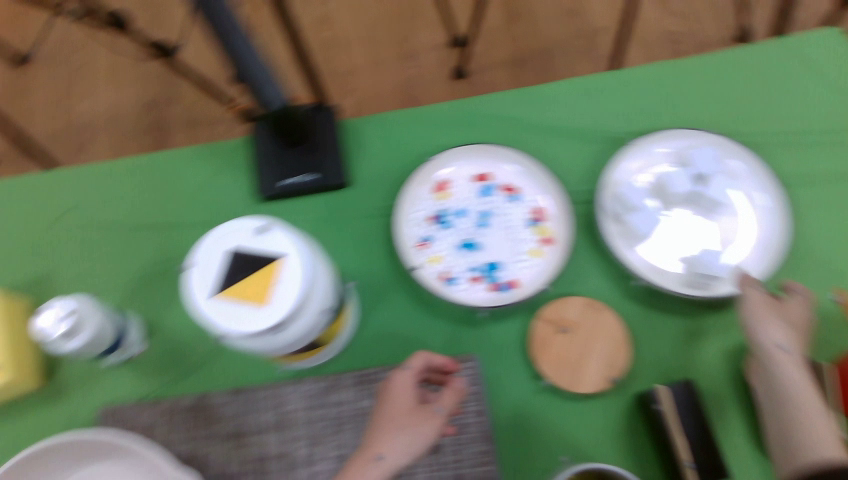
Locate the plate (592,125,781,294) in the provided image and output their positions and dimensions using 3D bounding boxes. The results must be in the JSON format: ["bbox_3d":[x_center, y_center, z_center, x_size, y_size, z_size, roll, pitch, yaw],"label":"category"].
[{"bbox_3d":[0.300,-0.035,0.708,0.207,0.039,0.206,-1,72,5],"label":"plate"}]

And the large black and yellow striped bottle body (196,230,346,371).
[{"bbox_3d":[-0.164,0.063,0.639,0.131,0.185,0.130,-1,71,5],"label":"large black and yellow striped bottle body"}]

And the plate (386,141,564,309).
[{"bbox_3d":[0.060,-0.018,0.723,0.209,0.038,0.208,-1,72,5],"label":"plate"}]

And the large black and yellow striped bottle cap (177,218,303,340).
[{"bbox_3d":[-0.170,0.035,0.559,0.115,0.019,0.114,-1,73,4],"label":"large black and yellow striped bottle cap"}]

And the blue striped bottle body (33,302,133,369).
[{"bbox_3d":[-0.386,0.107,0.676,0.063,0.121,0.062,-1,72,4],"label":"blue striped bottle body"}]

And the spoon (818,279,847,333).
[{"bbox_3d":[0.427,0.103,0.598,0.041,0.021,0.195,-45,118,-10],"label":"spoon"}]

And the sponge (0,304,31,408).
[{"bbox_3d":[-0.585,0.165,0.705,0.207,0.061,0.117,-23,72,-4],"label":"sponge"}]

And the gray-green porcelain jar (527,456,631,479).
[{"bbox_3d":[0.147,0.262,0.579,0.106,0.127,0.105,-1,71,4],"label":"gray-green porcelain jar"}]

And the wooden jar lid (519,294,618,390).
[{"bbox_3d":[0.161,0.114,0.682,0.108,0.021,0.108,-1,74,5],"label":"wooden jar lid"}]

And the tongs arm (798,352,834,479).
[{"bbox_3d":[0.373,0.301,0.567,0.028,0.028,0.386,0,82,-3],"label":"tongs arm"}]

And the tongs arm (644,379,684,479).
[{"bbox_3d":[0.289,0.315,0.568,0.051,0.026,0.383,-15,82,-2],"label":"tongs arm"}]

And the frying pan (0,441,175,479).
[{"bbox_3d":[-0.289,0.425,0.571,0.307,0.103,0.483,-39,65,-7],"label":"frying pan"}]

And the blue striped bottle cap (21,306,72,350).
[{"bbox_3d":[-0.391,0.091,0.627,0.044,0.021,0.044,-2,69,7],"label":"blue striped bottle cap"}]
